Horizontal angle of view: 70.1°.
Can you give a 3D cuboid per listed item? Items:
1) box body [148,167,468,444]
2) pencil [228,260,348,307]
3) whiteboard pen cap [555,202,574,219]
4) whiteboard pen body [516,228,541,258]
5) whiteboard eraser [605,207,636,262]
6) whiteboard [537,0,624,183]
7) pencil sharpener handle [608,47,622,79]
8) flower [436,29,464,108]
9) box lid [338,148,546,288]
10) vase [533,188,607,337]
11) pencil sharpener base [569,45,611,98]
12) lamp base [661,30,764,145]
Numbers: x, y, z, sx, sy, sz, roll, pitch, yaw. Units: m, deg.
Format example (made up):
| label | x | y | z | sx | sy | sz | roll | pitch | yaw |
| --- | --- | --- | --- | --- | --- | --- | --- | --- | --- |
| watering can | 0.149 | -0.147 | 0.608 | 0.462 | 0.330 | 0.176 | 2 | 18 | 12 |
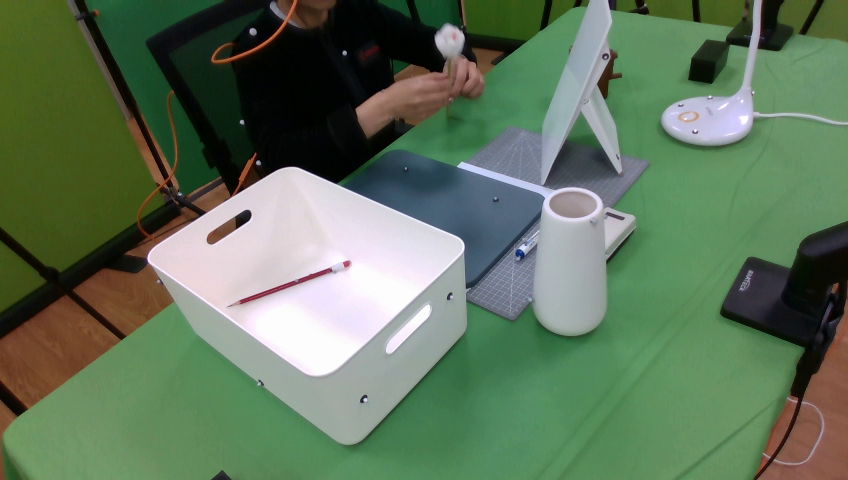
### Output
| label | x | y | z | sx | sy | sz | roll | pitch | yaw |
| --- | --- | --- | --- | --- | --- | --- | --- | --- | --- |
| box body | -0.147 | 0.072 | 0.816 | 0.361 | 0.161 | 0.255 | 24 | 50 | 33 |
| pencil | -0.210 | 0.068 | 0.942 | 0.194 | 0.012 | 0.012 | -20 | 42 | -12 |
| whiteboard pen cap | 0.230 | -0.048 | 0.994 | 0.018 | 0.018 | 0.033 | 26 | 54 | 34 |
| whiteboard pen body | 0.192 | -0.015 | 0.964 | 0.017 | 0.017 | 0.141 | 26 | 51 | 34 |
| whiteboard eraser | 0.272 | -0.003 | 0.919 | 0.055 | 0.042 | 0.113 | 27 | 51 | 32 |
| whiteboard | 0.316 | -0.256 | 1.047 | 0.144 | 0.306 | 0.216 | 15 | 42 | -1 |
| pencil sharpener handle | 0.395 | -0.369 | 1.254 | 0.031 | 0.068 | 0.036 | -10 | 32 | -1 |
| flower | 0.045 | -0.302 | 1.126 | 0.044 | 0.362 | 0.038 | -10 | 85 | 1 |
| box lid | -0.002 | -0.055 | 1.052 | 0.368 | 0.015 | 0.264 | 23 | 49 | 32 |
| vase | 0.187 | 0.033 | 0.771 | 0.098 | 0.201 | 0.097 | -6 | 41 | 6 |
| pencil sharpener base | 0.346 | -0.352 | 1.262 | 0.077 | 0.107 | 0.061 | -10 | 40 | -1 |
| lamp base | 0.535 | -0.287 | 1.096 | 0.179 | 0.181 | 0.159 | -10 | 40 | -4 |
